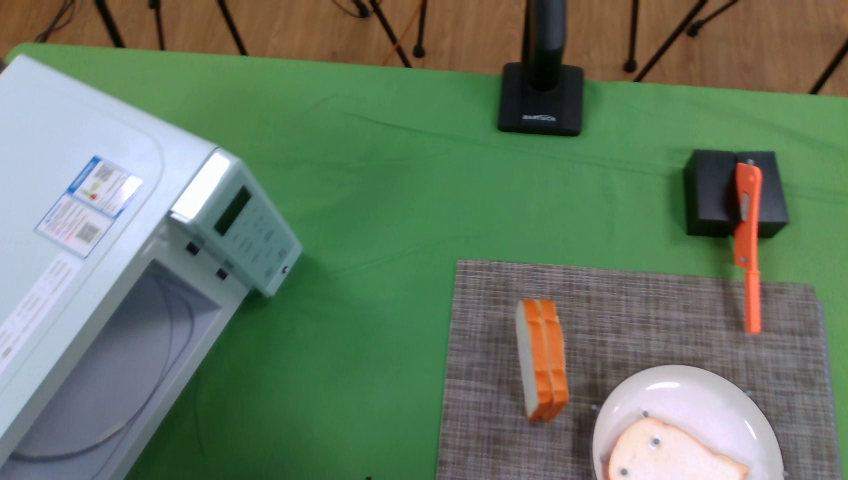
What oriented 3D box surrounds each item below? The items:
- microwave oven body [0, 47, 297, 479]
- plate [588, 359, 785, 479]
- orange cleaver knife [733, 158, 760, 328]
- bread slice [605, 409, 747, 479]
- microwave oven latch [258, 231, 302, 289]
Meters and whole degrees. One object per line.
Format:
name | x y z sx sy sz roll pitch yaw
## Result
microwave oven body | -0.411 0.070 0.676 0.324 0.262 0.440 26 73 13
plate | 0.287 0.239 0.678 0.207 0.039 0.206 -1 68 4
orange cleaver knife | 0.394 0.000 0.745 0.012 0.077 0.211 1 89 7
bread slice | 0.270 0.255 0.670 0.133 0.018 0.106 27 69 17
microwave oven latch | -0.189 0.022 0.784 0.030 0.030 0.079 27 73 13
